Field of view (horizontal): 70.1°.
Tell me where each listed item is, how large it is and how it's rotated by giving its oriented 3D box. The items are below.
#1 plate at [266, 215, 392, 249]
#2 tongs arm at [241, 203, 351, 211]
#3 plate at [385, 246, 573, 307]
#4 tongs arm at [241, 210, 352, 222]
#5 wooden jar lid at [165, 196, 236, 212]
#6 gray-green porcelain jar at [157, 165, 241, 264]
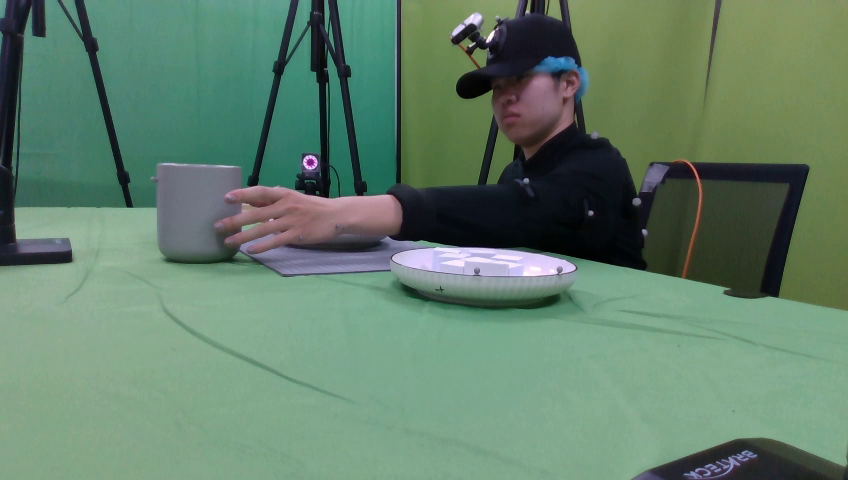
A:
[{"bbox_3d":[-0.159,-0.015,1.019,0.209,0.038,0.209,3,8,0],"label":"plate"},{"bbox_3d":[-0.362,-0.068,1.406,0.386,0.026,0.050,2,9,-14],"label":"tongs arm"},{"bbox_3d":[0.060,0.041,0.678,0.208,0.039,0.207,3,7,0],"label":"plate"},{"bbox_3d":[-0.337,-0.052,1.329,0.389,0.028,0.028,-1,6,-27],"label":"tongs arm"},{"bbox_3d":[-0.369,-0.060,1.001,0.108,0.020,0.108,3,6,0],"label":"wooden jar lid"},{"bbox_3d":[-0.300,-0.036,0.811,0.106,0.126,0.106,2,8,0],"label":"gray-green porcelain jar"}]
